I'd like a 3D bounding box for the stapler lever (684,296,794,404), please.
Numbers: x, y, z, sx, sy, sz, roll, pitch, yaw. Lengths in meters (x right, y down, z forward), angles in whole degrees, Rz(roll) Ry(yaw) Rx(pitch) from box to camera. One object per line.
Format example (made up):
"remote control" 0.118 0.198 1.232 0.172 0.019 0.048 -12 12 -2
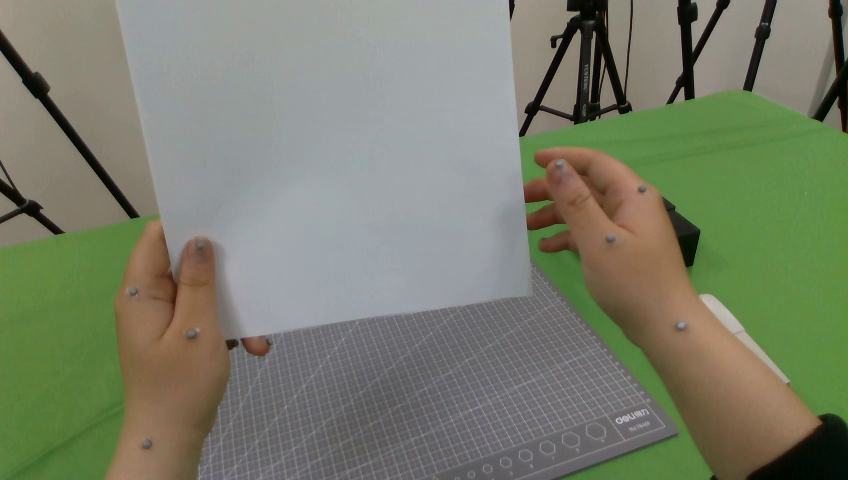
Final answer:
"stapler lever" 0.288 0.096 0.559 0.027 0.040 0.116 -17 37 -14

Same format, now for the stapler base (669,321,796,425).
"stapler base" 0.289 0.115 0.574 0.041 0.024 0.129 -17 38 -14
